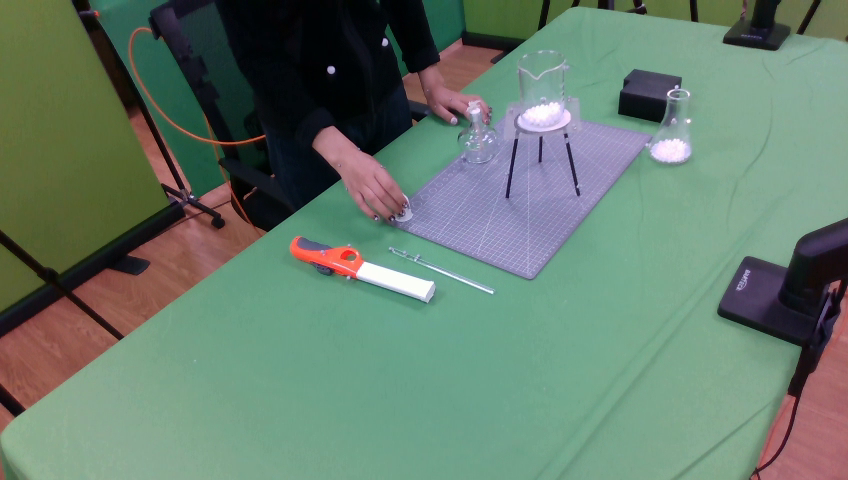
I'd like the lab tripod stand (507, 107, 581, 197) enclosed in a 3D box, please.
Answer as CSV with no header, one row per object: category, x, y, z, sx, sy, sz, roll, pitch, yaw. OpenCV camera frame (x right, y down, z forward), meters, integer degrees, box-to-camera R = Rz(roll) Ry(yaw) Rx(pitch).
lab tripod stand,0.201,-0.151,1.033,0.148,0.132,0.147,-7,39,6

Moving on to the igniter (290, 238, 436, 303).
igniter,-0.106,0.044,0.949,0.274,0.025,0.057,16,57,27

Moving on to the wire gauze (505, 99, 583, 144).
wire gauze,0.195,-0.199,0.988,0.121,0.011,0.124,-3,41,13

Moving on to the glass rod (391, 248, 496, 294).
glass rod,0.026,0.046,0.937,0.198,0.008,0.008,21,49,31

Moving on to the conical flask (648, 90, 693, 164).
conical flask,0.437,-0.199,1.057,0.075,0.122,0.075,-5,40,5

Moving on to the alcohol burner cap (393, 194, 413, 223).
alcohol burner cap,-0.038,-0.056,1.038,0.034,0.048,0.033,-7,39,6

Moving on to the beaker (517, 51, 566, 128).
beaker,0.186,-0.235,0.957,0.073,0.101,0.084,4,42,18

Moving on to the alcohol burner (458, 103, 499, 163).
alcohol burner,0.100,-0.205,1.132,0.078,0.119,0.077,-6,42,6
